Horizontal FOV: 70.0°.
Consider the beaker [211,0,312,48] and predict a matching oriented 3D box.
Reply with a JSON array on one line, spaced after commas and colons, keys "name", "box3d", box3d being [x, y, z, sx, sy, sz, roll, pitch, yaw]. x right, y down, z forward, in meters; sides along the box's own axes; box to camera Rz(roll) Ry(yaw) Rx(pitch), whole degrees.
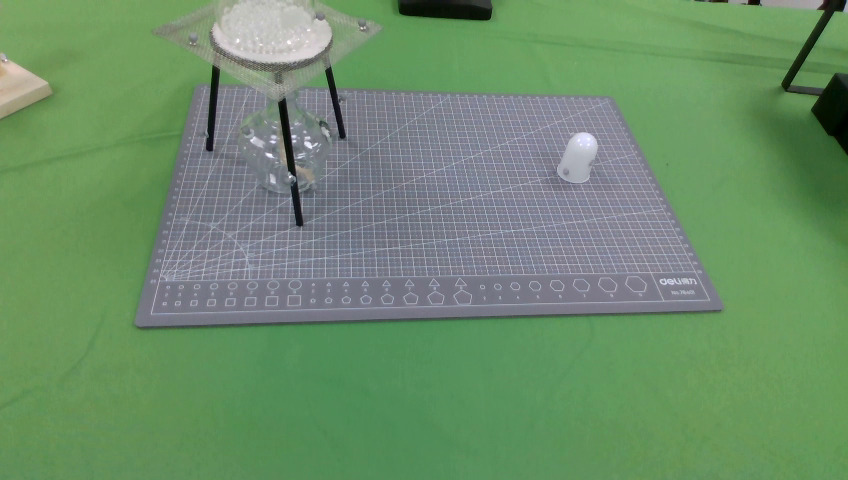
[{"name": "beaker", "box3d": [-0.114, -0.190, 0.412, 0.073, 0.101, 0.084, 30, 52, 17]}]

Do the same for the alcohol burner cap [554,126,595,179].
[{"name": "alcohol burner cap", "box3d": [0.144, -0.085, 0.573, 0.034, 0.048, 0.033, 4, 47, -4]}]

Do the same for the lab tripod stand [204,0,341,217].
[{"name": "lab tripod stand", "box3d": [-0.120, -0.114, 0.497, 0.148, 0.132, 0.147, 6, 48, -6]}]

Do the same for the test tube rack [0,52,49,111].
[{"name": "test tube rack", "box3d": [-0.450, -0.120, 0.490, 0.066, 0.086, 0.241, 29, 51, 17]}]

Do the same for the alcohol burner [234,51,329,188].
[{"name": "alcohol burner", "box3d": [-0.118, -0.102, 0.500, 0.078, 0.120, 0.077, 5, 47, -5]}]

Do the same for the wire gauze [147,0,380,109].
[{"name": "wire gauze", "box3d": [-0.115, -0.157, 0.448, 0.124, 0.011, 0.121, 32, 54, 14]}]
